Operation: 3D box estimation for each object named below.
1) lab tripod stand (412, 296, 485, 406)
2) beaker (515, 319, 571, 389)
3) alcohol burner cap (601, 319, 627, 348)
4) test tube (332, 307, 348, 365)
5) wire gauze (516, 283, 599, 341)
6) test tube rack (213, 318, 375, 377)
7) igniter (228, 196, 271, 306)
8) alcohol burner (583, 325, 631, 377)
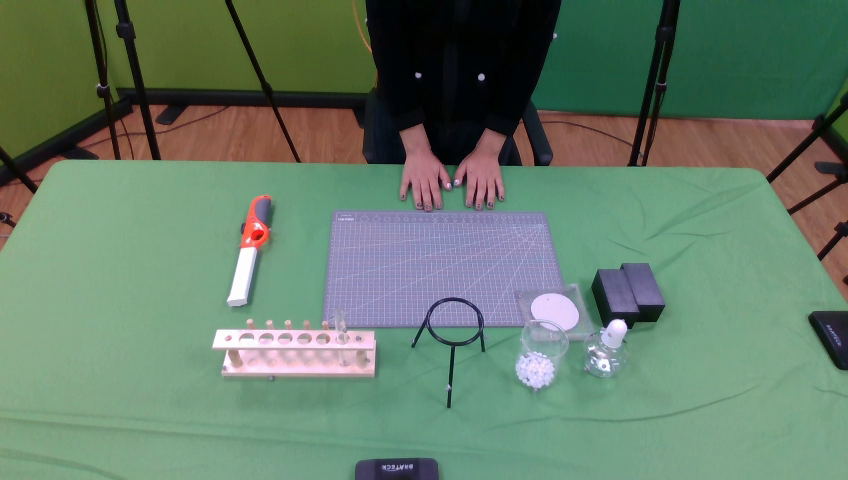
[{"bbox_3d":[0.045,0.168,0.963,0.148,0.132,0.147,3,47,-3],"label":"lab tripod stand"},{"bbox_3d":[0.186,0.186,0.980,0.074,0.101,0.083,-23,51,-24],"label":"beaker"},{"bbox_3d":[0.305,0.146,0.966,0.034,0.048,0.033,6,41,-5],"label":"alcohol burner cap"},{"bbox_3d":[-0.128,0.151,0.931,0.017,0.151,0.017,1,50,-2],"label":"test tube"},{"bbox_3d":[0.240,0.131,1.094,0.125,0.011,0.120,-3,47,-8],"label":"wire gauze"},{"bbox_3d":[-0.202,0.169,0.977,0.242,0.085,0.066,1,46,-3],"label":"test tube rack"},{"bbox_3d":[-0.332,0.011,1.160,0.057,0.025,0.274,-7,46,5],"label":"igniter"},{"bbox_3d":[0.304,0.171,0.991,0.078,0.120,0.077,2,48,-2],"label":"alcohol burner"}]
